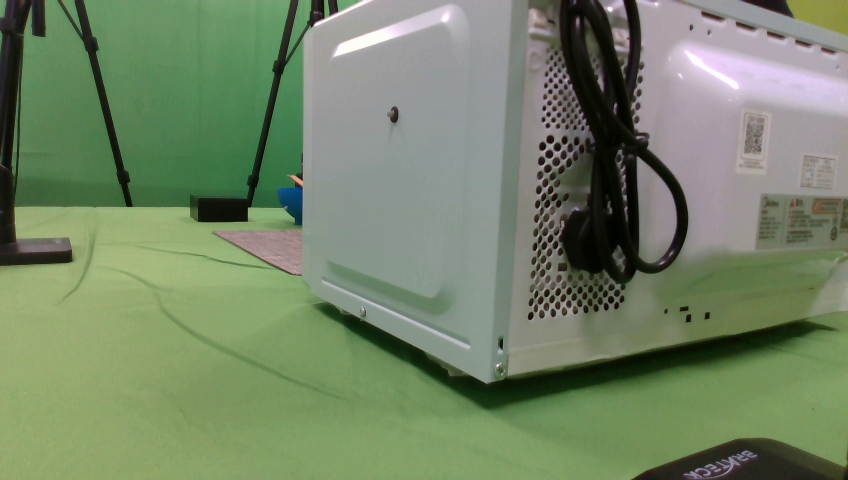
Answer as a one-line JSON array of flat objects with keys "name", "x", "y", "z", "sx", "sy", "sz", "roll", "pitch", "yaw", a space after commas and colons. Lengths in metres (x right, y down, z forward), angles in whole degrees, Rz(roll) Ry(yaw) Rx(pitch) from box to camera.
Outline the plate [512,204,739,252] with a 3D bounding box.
[{"name": "plate", "x": 0.190, "y": -0.014, "z": 0.590, "sx": 0.208, "sy": 0.039, "sz": 0.207, "roll": 0, "pitch": 5, "yaw": 0}]

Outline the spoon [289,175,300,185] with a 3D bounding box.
[{"name": "spoon", "x": -0.261, "y": -0.111, "z": 1.343, "sx": 0.042, "sy": 0.021, "sz": 0.192, "roll": -8, "pitch": 33, "yaw": -30}]

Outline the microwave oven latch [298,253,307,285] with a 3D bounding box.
[{"name": "microwave oven latch", "x": -0.081, "y": 0.027, "z": 0.582, "sx": 0.079, "sy": 0.029, "sz": 0.030, "roll": -1, "pitch": 7, "yaw": -32}]

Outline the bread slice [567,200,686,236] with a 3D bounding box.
[{"name": "bread slice", "x": 0.194, "y": -0.022, "z": 0.576, "sx": 0.107, "sy": 0.018, "sz": 0.134, "roll": -5, "pitch": 7, "yaw": 11}]

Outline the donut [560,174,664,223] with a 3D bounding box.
[{"name": "donut", "x": 0.182, "y": -0.040, "z": 0.589, "sx": 0.099, "sy": 0.048, "sz": 0.099, "roll": 2, "pitch": 4, "yaw": 0}]

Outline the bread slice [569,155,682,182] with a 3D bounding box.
[{"name": "bread slice", "x": 0.192, "y": -0.068, "z": 0.575, "sx": 0.105, "sy": 0.019, "sz": 0.132, "roll": 5, "pitch": 5, "yaw": 14}]

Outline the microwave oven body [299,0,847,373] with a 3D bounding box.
[{"name": "microwave oven body", "x": 0.151, "y": -0.055, "z": 0.542, "sx": 0.444, "sy": 0.260, "sz": 0.324, "roll": -2, "pitch": 7, "yaw": -33}]

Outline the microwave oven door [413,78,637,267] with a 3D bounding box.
[{"name": "microwave oven door", "x": 0.127, "y": -0.104, "z": 0.888, "sx": 0.354, "sy": 0.243, "sz": 0.039, "roll": 8, "pitch": 10, "yaw": 41}]

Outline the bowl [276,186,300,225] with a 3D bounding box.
[{"name": "bowl", "x": -0.241, "y": -0.073, "z": 1.302, "sx": 0.151, "sy": 0.077, "sz": 0.151, "roll": 2, "pitch": 7, "yaw": 0}]
